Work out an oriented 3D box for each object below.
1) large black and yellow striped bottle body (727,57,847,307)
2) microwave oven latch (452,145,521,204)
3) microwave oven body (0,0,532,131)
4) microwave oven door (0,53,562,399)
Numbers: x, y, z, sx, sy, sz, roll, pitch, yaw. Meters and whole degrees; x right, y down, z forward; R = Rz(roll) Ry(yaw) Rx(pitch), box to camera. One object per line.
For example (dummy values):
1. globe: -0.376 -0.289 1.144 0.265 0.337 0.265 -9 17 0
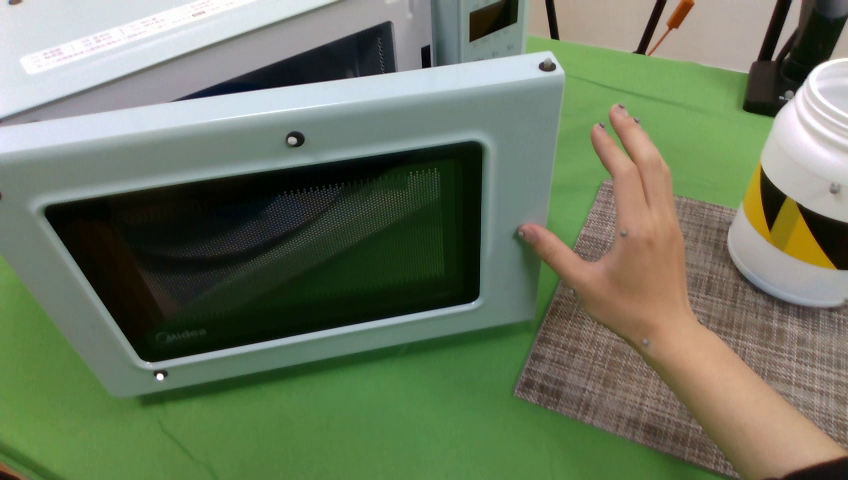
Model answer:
1. large black and yellow striped bottle body: 0.353 -0.046 0.516 0.131 0.186 0.129 -2 45 2
2. microwave oven latch: 0.067 -0.069 0.643 0.079 0.030 0.030 -28 51 -22
3. microwave oven body: -0.169 -0.137 0.588 0.442 0.263 0.322 -30 51 -23
4. microwave oven door: -0.085 0.004 0.434 0.356 0.246 0.039 -10 45 -6
